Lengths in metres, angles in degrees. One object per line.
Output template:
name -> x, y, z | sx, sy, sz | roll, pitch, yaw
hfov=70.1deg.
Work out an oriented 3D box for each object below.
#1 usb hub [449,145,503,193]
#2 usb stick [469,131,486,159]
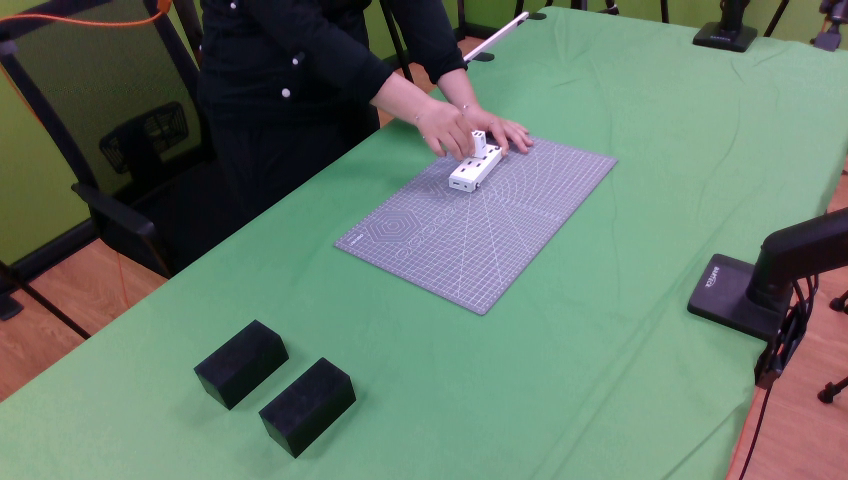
usb hub -> 0.096, -0.132, 1.105 | 0.049, 0.025, 0.125 | 19, 47, 27
usb stick -> 0.097, -0.167, 1.099 | 0.027, 0.059, 0.021 | 17, 42, 23
